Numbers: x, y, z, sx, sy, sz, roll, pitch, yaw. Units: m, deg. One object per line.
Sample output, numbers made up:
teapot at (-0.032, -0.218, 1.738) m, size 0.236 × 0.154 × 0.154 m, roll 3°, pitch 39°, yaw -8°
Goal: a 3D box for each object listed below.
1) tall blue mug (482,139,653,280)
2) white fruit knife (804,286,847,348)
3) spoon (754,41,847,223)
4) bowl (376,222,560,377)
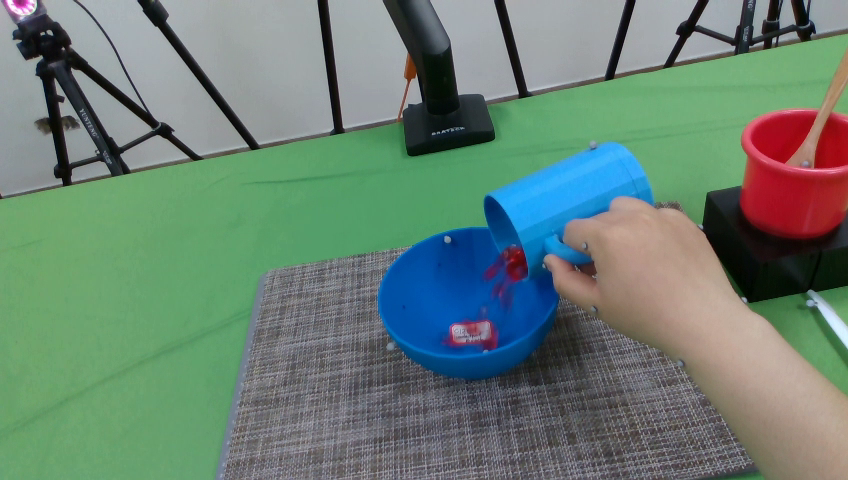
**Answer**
tall blue mug at (0.113, -0.025, 0.462) m, size 0.108 × 0.078 × 0.107 m, roll -23°, pitch -1°, yaw -8°
white fruit knife at (0.338, 0.105, 0.444) m, size 0.027 × 0.016 × 0.205 m, roll 11°, pitch 36°, yaw -13°
spoon at (0.333, -0.103, 0.507) m, size 0.041 × 0.022 × 0.194 m, roll 28°, pitch 99°, yaw 40°
bowl at (0.041, 0.063, 0.516) m, size 0.151 × 0.077 × 0.150 m, roll -7°, pitch 40°, yaw 7°
